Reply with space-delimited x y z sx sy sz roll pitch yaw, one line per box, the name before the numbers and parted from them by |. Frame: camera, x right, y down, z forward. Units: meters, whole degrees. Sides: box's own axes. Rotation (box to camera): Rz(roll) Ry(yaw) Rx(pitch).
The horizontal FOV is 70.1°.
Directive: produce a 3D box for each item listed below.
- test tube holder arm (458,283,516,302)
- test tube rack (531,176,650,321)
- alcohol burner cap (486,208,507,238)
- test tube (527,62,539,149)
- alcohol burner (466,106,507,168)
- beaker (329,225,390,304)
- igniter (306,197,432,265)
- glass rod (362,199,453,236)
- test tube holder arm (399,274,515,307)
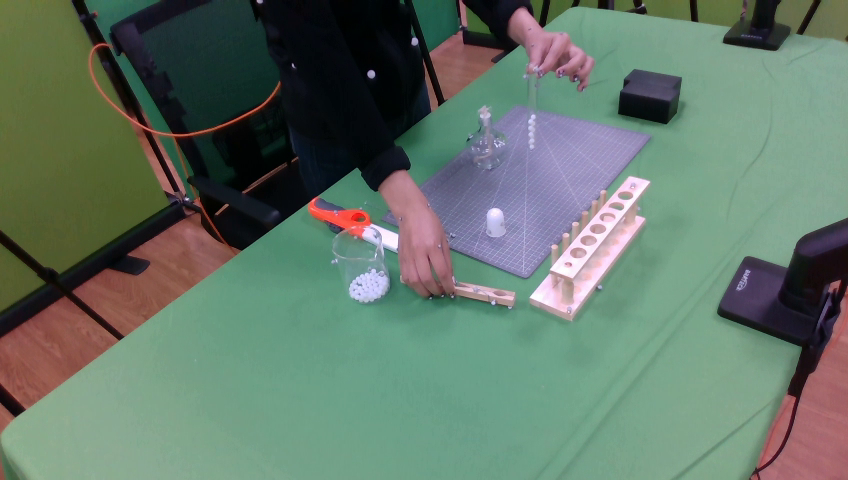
test tube holder arm | 0.089 0.076 0.870 0.087 0.015 0.010 10 38 20
test tube rack | 0.246 0.002 0.884 0.066 0.085 0.243 22 49 32
alcohol burner cap | 0.116 -0.030 0.975 0.034 0.048 0.033 -5 40 5
test tube | 0.171 -0.208 0.951 0.017 0.151 0.017 -4 42 4
alcohol burner | 0.114 -0.193 1.112 0.078 0.119 0.077 -4 41 4
beaker | -0.089 0.040 0.890 0.074 0.101 0.083 -32 46 -24
igniter | -0.102 -0.020 1.019 0.274 0.025 0.057 23 59 32
glass rod | -0.032 -0.041 1.041 0.198 0.008 0.008 22 50 31
test tube holder arm | 0.045 0.072 0.880 0.177 0.015 0.013 9 38 19
